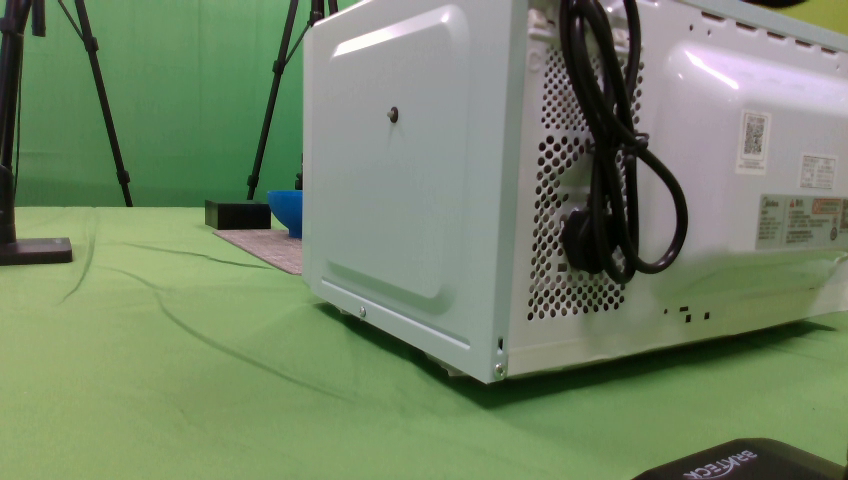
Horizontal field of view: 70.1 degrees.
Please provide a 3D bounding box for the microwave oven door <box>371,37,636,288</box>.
[{"bbox_3d":[0.109,-0.080,0.687,0.358,0.243,0.039,-2,9,-33],"label":"microwave oven door"}]

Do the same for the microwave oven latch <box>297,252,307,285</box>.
[{"bbox_3d":[-0.082,0.027,0.583,0.079,0.029,0.030,-1,8,-33],"label":"microwave oven latch"}]

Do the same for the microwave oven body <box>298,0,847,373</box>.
[{"bbox_3d":[0.151,-0.055,0.543,0.444,0.260,0.324,-1,8,-33],"label":"microwave oven body"}]

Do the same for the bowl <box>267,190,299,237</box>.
[{"bbox_3d":[-0.202,-0.046,1.069,0.151,0.077,0.151,3,7,0],"label":"bowl"}]
